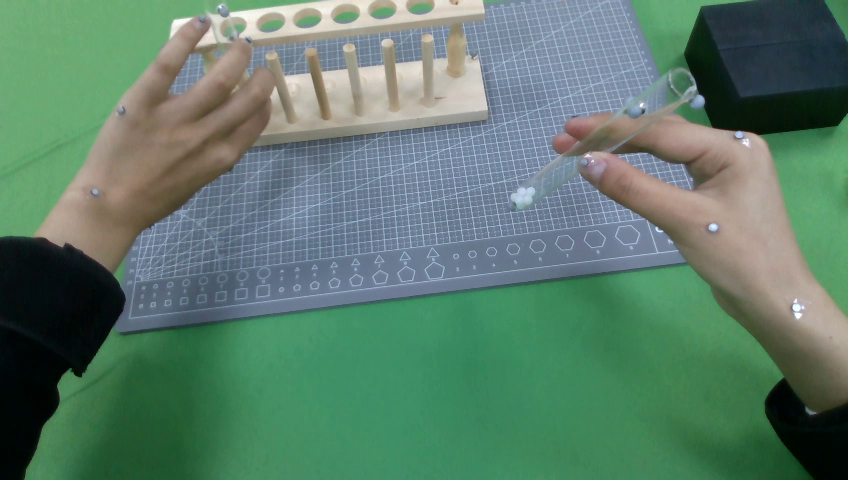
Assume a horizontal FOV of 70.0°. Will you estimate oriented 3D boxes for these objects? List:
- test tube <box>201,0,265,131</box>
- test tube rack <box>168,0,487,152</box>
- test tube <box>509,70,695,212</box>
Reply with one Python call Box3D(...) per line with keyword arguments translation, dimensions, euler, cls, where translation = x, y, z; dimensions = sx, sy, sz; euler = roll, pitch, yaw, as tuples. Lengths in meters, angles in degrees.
Box3D(translation=(-0.142, -0.136, 0.448), dimensions=(0.017, 0.152, 0.017), euler=(0, 59, 0), cls="test tube")
Box3D(translation=(-0.072, -0.137, 0.495), dimensions=(0.242, 0.086, 0.066), euler=(-7, 60, 0), cls="test tube rack")
Box3D(translation=(0.086, -0.046, 0.329), dimensions=(0.017, 0.150, 0.017), euler=(7, 70, -20), cls="test tube")
